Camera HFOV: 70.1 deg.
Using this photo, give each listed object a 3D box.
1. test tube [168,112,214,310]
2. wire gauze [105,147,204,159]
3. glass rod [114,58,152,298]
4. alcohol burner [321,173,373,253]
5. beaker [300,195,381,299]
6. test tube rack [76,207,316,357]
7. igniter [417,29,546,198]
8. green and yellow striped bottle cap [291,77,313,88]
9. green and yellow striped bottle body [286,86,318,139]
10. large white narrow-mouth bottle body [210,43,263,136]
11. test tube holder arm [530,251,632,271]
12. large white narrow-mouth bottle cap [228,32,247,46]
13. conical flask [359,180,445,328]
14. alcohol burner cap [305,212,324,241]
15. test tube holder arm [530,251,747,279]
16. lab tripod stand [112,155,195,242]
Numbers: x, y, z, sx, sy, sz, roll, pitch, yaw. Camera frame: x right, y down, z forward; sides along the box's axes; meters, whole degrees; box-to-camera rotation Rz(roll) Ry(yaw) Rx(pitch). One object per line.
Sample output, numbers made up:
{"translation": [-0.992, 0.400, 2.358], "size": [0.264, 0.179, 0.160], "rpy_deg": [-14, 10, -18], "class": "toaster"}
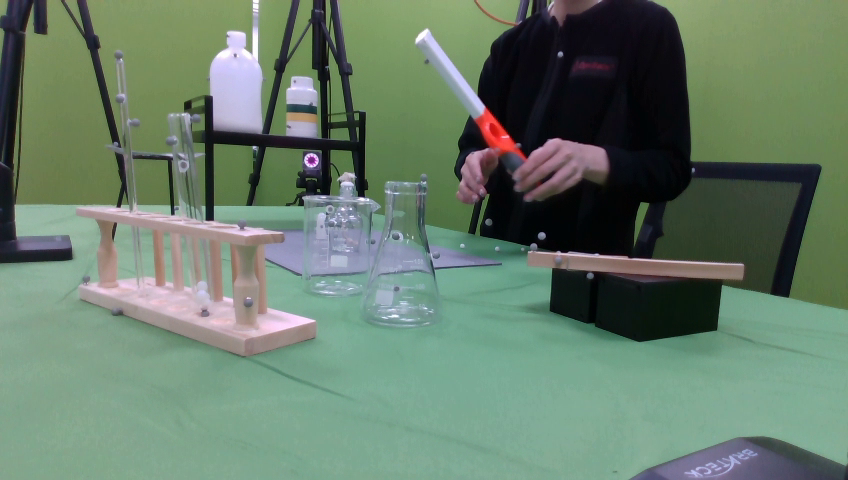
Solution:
{"translation": [-0.175, -0.020, 0.455], "size": [0.017, 0.150, 0.017], "rpy_deg": [-4, 9, 1], "class": "test tube"}
{"translation": [-0.407, -0.131, 0.928], "size": [0.125, 0.011, 0.121], "rpy_deg": [2, 6, -11], "class": "wire gauze"}
{"translation": [-0.236, -0.044, 0.492], "size": [0.008, 0.199, 0.008], "rpy_deg": [0, 15, 0], "class": "glass rod"}
{"translation": [-0.115, -0.041, 0.905], "size": [0.078, 0.119, 0.078], "rpy_deg": [1, 6, 0], "class": "alcohol burner"}
{"translation": [-0.087, 0.006, 0.626], "size": [0.084, 0.100, 0.074], "rpy_deg": [1, 8, -17], "class": "beaker"}
{"translation": [-0.196, 0.023, 0.500], "size": [0.241, 0.085, 0.067], "rpy_deg": [8, 9, 36], "class": "test tube rack"}
{"translation": [0.085, -0.163, 0.817], "size": [0.025, 0.277, 0.057], "rpy_deg": [-29, 26, 29], "class": "igniter"}
{"translation": [-0.249, -0.321, 1.237], "size": [0.045, 0.020, 0.045], "rpy_deg": [3, 5, 0], "class": "green and yellow striped bottle cap"}
{"translation": [-0.251, -0.270, 1.245], "size": [0.063, 0.119, 0.063], "rpy_deg": [2, 7, 0], "class": "green and yellow striped bottle body"}
{"translation": [-0.369, -0.305, 1.194], "size": [0.102, 0.194, 0.102], "rpy_deg": [3, 8, 0], "class": "large white narrow-mouth bottle body"}
{"translation": [0.139, 0.019, 0.538], "size": [0.087, 0.015, 0.010], "rpy_deg": [3, 8, 13], "class": "test tube holder arm"}
{"translation": [-0.364, -0.391, 1.180], "size": [0.038, 0.024, 0.037], "rpy_deg": [3, 8, 0], "class": "large white narrow-mouth bottle cap"}
{"translation": [-0.017, 0.010, 0.522], "size": [0.075, 0.122, 0.075], "rpy_deg": [2, 7, 0], "class": "conical flask"}
{"translation": [-0.185, -0.023, 1.027], "size": [0.034, 0.048, 0.034], "rpy_deg": [2, 6, 0], "class": "alcohol burner cap"}
{"translation": [0.182, 0.022, 0.523], "size": [0.178, 0.015, 0.013], "rpy_deg": [3, 8, 12], "class": "test tube holder arm"}
{"translation": [-0.405, -0.064, 0.931], "size": [0.148, 0.131, 0.148], "rpy_deg": [1, 6, 0], "class": "lab tripod stand"}
